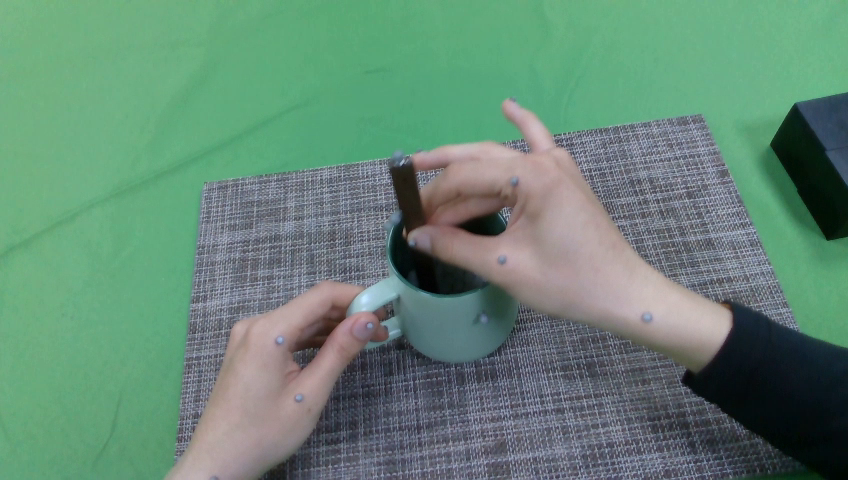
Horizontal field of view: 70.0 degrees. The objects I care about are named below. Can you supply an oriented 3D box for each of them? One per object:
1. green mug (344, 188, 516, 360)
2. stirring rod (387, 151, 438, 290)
[{"bbox_3d":[0.004,0.034,0.414,0.125,0.106,0.091,-28,61,-11],"label":"green mug"},{"bbox_3d":[-0.004,-0.003,0.377,0.014,0.177,0.005,-14,64,-1],"label":"stirring rod"}]
